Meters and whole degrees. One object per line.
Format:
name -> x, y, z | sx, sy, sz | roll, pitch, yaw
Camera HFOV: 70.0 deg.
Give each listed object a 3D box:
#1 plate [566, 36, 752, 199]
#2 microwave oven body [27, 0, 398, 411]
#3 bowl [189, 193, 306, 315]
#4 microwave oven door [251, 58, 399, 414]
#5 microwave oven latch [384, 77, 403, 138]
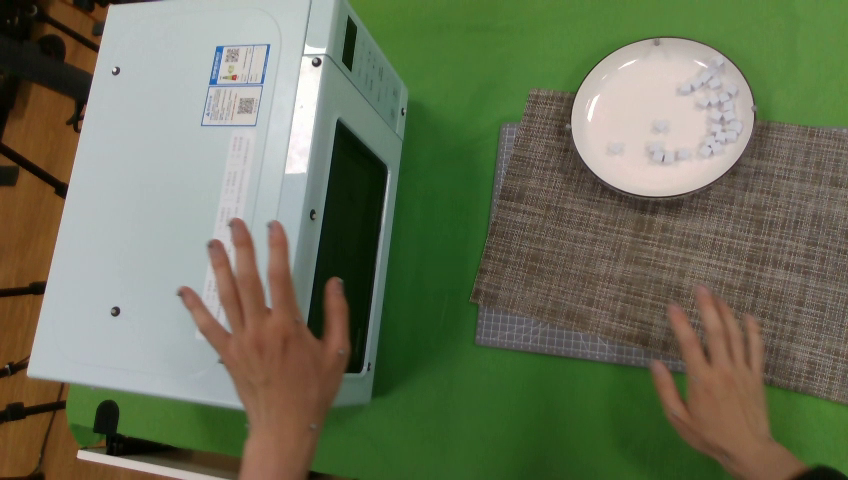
plate -> 0.280, -0.146, 0.737 | 0.208, 0.038, 0.208 | -4, 76, 16
microwave oven body -> -0.234, -0.035, 0.749 | 0.325, 0.262, 0.440 | 3, 80, 17
bowl -> -0.207, 0.024, 0.761 | 0.151, 0.077, 0.150 | -4, 76, 16
microwave oven door -> -0.100, 0.011, 0.694 | 0.039, 0.245, 0.354 | 2, 79, 18
microwave oven latch -> -0.046, -0.181, 0.827 | 0.030, 0.030, 0.079 | 3, 80, 17
